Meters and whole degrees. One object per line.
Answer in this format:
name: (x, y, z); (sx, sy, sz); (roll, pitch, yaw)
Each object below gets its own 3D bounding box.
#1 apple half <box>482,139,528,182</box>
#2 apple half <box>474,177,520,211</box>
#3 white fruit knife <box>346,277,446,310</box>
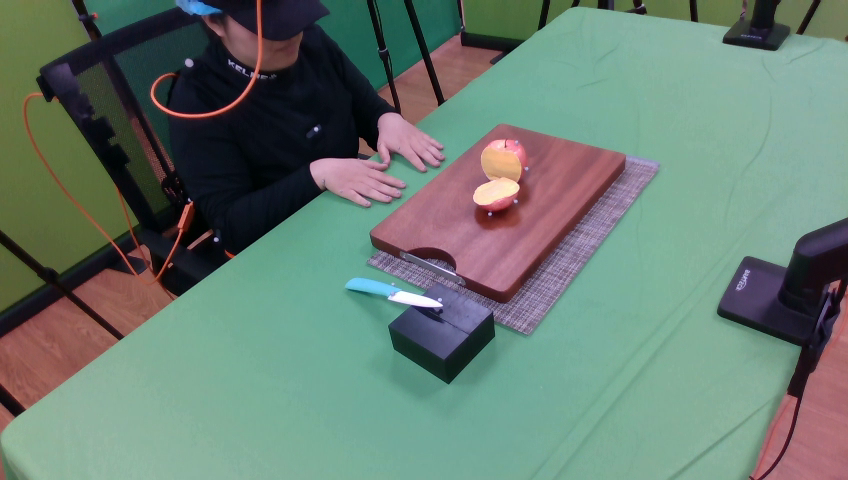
apple half: (0.145, -0.138, 1.038); (0.080, 0.075, 0.053); (15, 41, 31)
apple half: (0.123, -0.070, 0.994); (0.081, 0.033, 0.081); (-17, 29, 11)
white fruit knife: (-0.042, 0.077, 0.865); (0.205, 0.016, 0.027); (9, 41, 46)
